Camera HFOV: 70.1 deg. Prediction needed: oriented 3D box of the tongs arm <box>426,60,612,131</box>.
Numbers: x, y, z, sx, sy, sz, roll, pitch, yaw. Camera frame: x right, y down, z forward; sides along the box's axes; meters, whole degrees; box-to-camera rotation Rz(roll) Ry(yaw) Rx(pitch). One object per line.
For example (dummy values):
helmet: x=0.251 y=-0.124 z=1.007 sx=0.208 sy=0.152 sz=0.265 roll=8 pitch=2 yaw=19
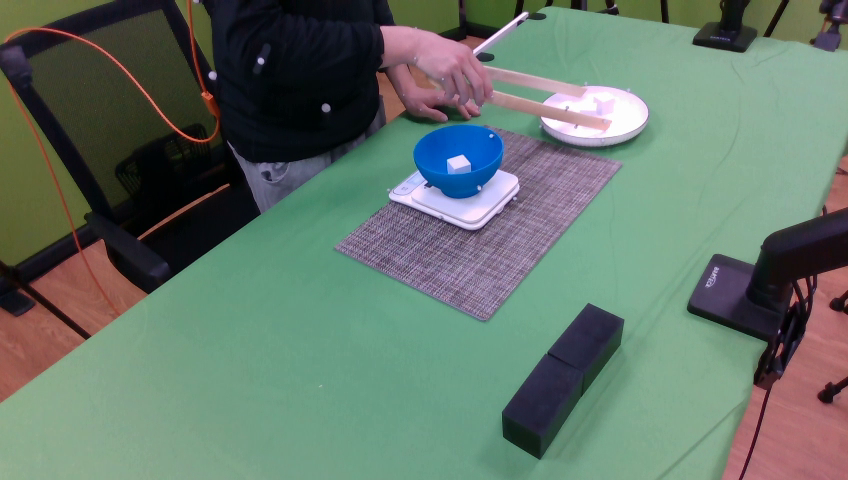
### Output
tongs arm: x=0.181 y=-0.252 z=1.076 sx=0.388 sy=0.026 sz=0.050 roll=5 pitch=50 yaw=-30

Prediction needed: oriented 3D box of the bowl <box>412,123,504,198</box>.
bowl: x=0.059 y=-0.123 z=1.007 sx=0.151 sy=0.077 sz=0.150 roll=-5 pitch=41 yaw=5

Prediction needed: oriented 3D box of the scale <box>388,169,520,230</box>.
scale: x=0.050 y=-0.090 z=1.051 sx=0.199 sy=0.032 sz=0.149 roll=24 pitch=49 yaw=31

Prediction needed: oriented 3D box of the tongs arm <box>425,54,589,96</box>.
tongs arm: x=0.165 y=-0.297 z=1.110 sx=0.391 sy=0.027 sz=0.028 roll=0 pitch=56 yaw=-34

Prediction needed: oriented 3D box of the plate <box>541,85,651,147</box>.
plate: x=0.334 y=-0.239 z=1.186 sx=0.207 sy=0.039 sz=0.206 roll=-4 pitch=41 yaw=4
